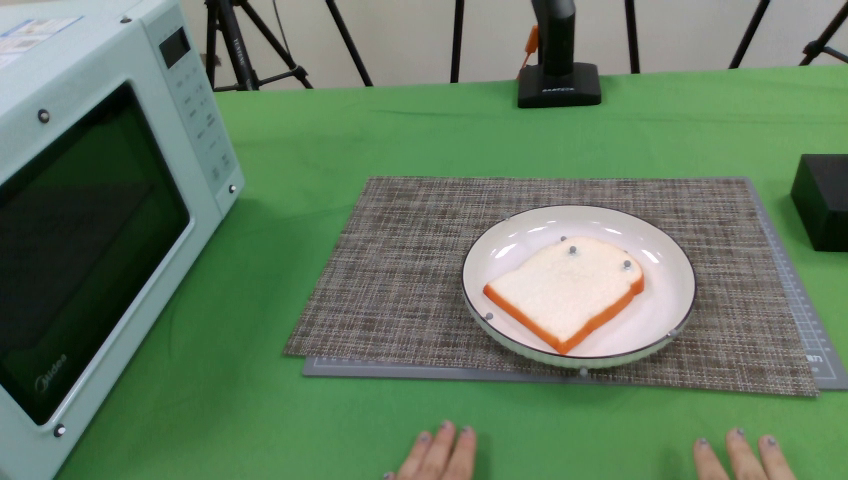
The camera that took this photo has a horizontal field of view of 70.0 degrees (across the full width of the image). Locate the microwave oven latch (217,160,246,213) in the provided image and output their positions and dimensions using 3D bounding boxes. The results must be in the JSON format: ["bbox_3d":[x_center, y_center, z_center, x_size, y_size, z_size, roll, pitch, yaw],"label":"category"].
[{"bbox_3d":[-0.245,-0.065,0.743,0.030,0.030,0.078,2,40,11],"label":"microwave oven latch"}]

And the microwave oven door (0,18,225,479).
[{"bbox_3d":[-0.291,-0.006,0.513,0.039,0.246,0.353,0,39,11],"label":"microwave oven door"}]

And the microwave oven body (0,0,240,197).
[{"bbox_3d":[-0.428,-0.029,0.575,0.325,0.263,0.438,1,40,10],"label":"microwave oven body"}]

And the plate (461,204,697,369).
[{"bbox_3d":[0.139,0.041,0.563,0.209,0.038,0.207,-5,39,5],"label":"plate"}]

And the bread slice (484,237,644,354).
[{"bbox_3d":[0.136,0.041,0.566,0.131,0.019,0.104,-29,43,-25],"label":"bread slice"}]
